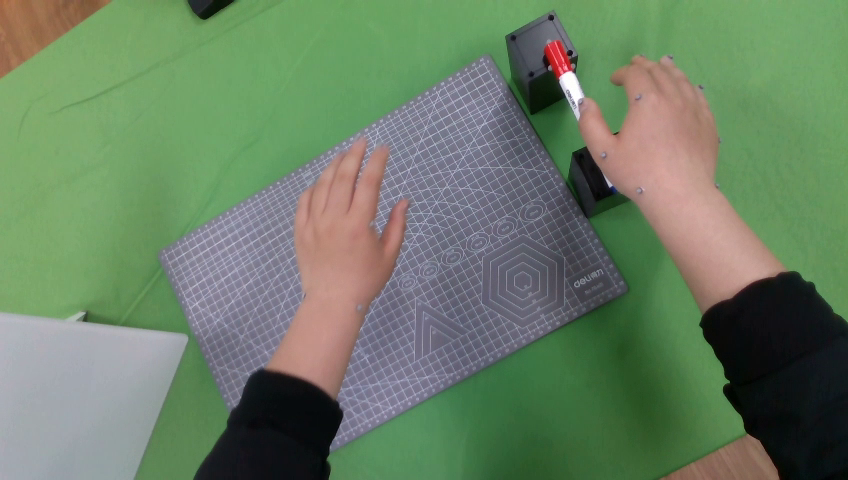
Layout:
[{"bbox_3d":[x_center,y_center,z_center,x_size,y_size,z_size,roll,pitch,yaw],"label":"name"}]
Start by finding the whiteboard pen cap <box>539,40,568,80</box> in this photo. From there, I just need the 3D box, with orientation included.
[{"bbox_3d":[0.117,-0.163,0.547,0.017,0.017,0.032,-24,82,8],"label":"whiteboard pen cap"}]

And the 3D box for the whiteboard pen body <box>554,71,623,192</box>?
[{"bbox_3d":[0.142,-0.107,0.540,0.017,0.017,0.140,-24,80,8],"label":"whiteboard pen body"}]

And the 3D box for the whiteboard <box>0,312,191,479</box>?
[{"bbox_3d":[-0.437,0.159,0.609,0.142,0.308,0.217,21,89,32],"label":"whiteboard"}]
